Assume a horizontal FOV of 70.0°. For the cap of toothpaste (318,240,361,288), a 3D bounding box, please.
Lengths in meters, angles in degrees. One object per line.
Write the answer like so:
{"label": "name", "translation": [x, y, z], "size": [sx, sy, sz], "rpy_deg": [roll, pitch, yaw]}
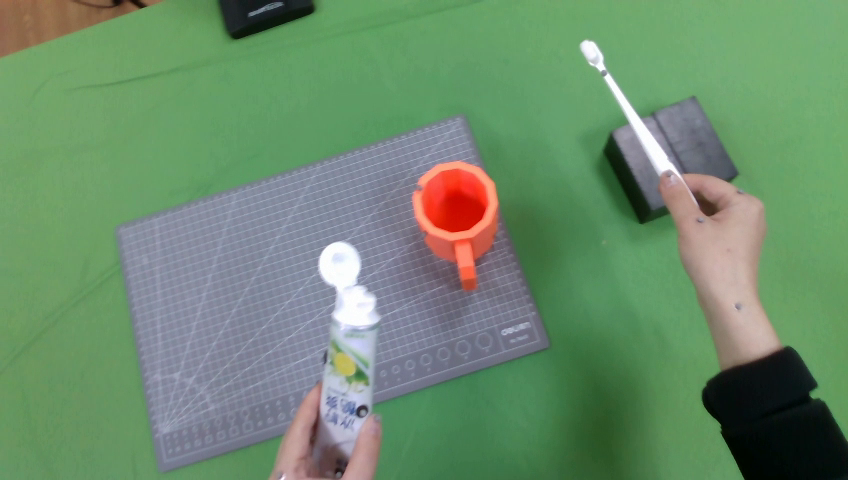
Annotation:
{"label": "cap of toothpaste", "translation": [-0.061, 0.018, 0.448], "size": [0.037, 0.011, 0.037], "rpy_deg": [3, 86, -36]}

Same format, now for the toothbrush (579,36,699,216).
{"label": "toothbrush", "translation": [0.179, -0.099, 0.509], "size": [0.014, 0.017, 0.181], "rpy_deg": [-33, 76, 26]}

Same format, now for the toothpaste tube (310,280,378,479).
{"label": "toothpaste tube", "translation": [-0.059, 0.108, 0.456], "size": [0.054, 0.034, 0.165], "rpy_deg": [15, 107, 28]}

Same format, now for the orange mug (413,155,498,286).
{"label": "orange mug", "translation": [0.039, -0.016, 0.651], "size": [0.083, 0.101, 0.125], "rpy_deg": [-10, 70, 3]}
